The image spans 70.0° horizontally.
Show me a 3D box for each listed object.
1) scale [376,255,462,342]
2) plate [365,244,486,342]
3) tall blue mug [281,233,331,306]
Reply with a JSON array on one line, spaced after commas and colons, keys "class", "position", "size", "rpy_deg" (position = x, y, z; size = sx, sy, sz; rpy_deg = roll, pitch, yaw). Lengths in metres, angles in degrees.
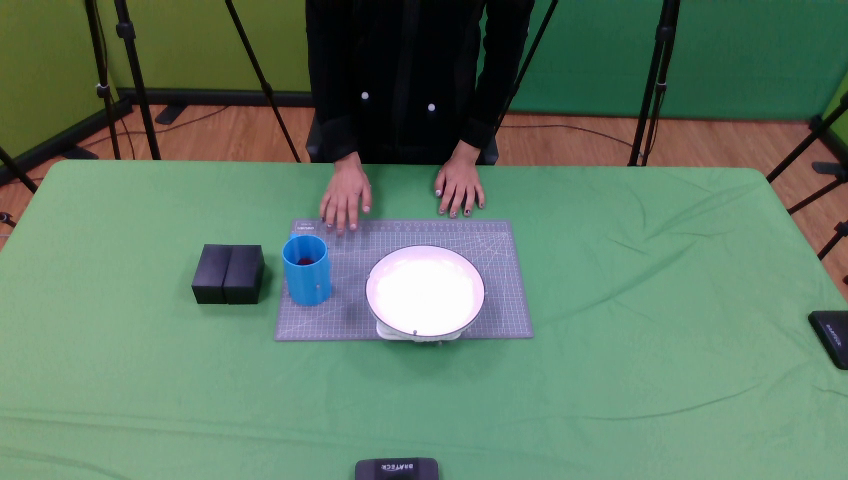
[{"class": "scale", "position": [-0.010, 0.096, 1.094], "size": [0.149, 0.032, 0.199], "rpy_deg": [2, 46, -3]}, {"class": "plate", "position": [0.001, 0.093, 1.051], "size": [0.209, 0.038, 0.208], "rpy_deg": [1, 46, -1]}, {"class": "tall blue mug", "position": [-0.219, 0.046, 1.073], "size": [0.107, 0.108, 0.077], "rpy_deg": [28, 52, 21]}]
